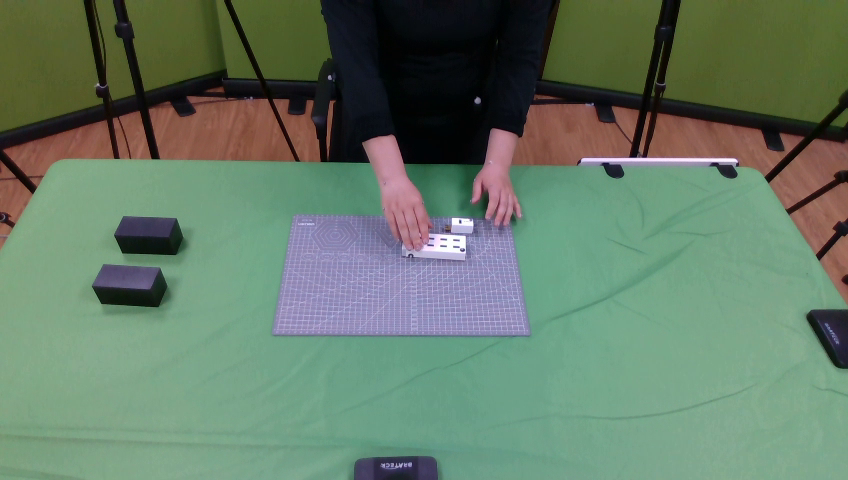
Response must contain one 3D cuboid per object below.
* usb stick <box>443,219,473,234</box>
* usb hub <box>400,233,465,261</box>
[{"bbox_3d":[0.068,-0.027,1.222,0.059,0.027,0.021,1,43,1],"label":"usb stick"},{"bbox_3d":[0.018,0.013,1.180,0.125,0.025,0.049,4,46,0],"label":"usb hub"}]
